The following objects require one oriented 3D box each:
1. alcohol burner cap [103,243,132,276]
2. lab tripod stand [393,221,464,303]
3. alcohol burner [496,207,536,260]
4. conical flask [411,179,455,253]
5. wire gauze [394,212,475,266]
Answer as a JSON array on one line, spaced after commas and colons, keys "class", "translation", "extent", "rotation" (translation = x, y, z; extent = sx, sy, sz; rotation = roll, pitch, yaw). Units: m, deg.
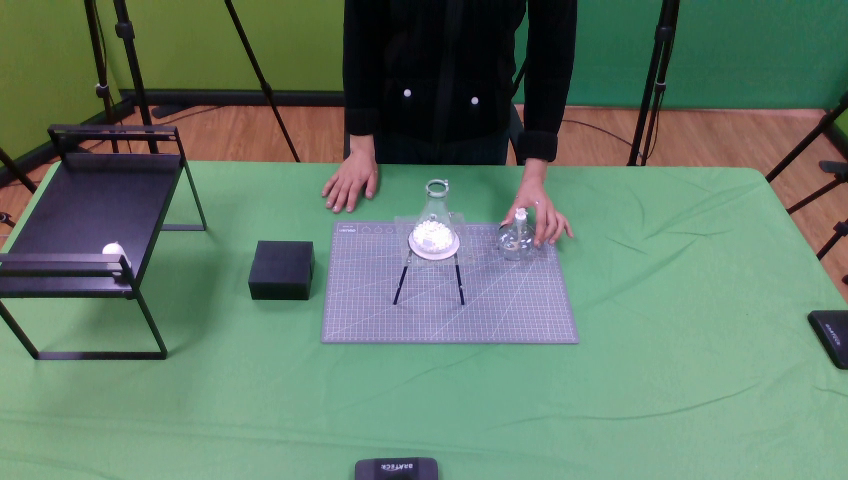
[{"class": "alcohol burner cap", "translation": [-0.446, 0.025, 0.875], "extent": [0.034, 0.048, 0.033], "rotation": [3, 46, -3]}, {"class": "lab tripod stand", "translation": [0.010, 0.046, 1.074], "extent": [0.148, 0.132, 0.147], "rotation": [2, 48, -2]}, {"class": "alcohol burner", "translation": [0.179, -0.018, 1.162], "extent": [0.078, 0.120, 0.077], "rotation": [1, 48, -1]}, {"class": "conical flask", "translation": [0.017, -0.042, 0.985], "extent": [0.075, 0.122, 0.075], "rotation": [2, 47, -2]}, {"class": "wire gauze", "translation": [0.015, -0.001, 1.029], "extent": [0.125, 0.011, 0.120], "rotation": [-5, 45, -5]}]
